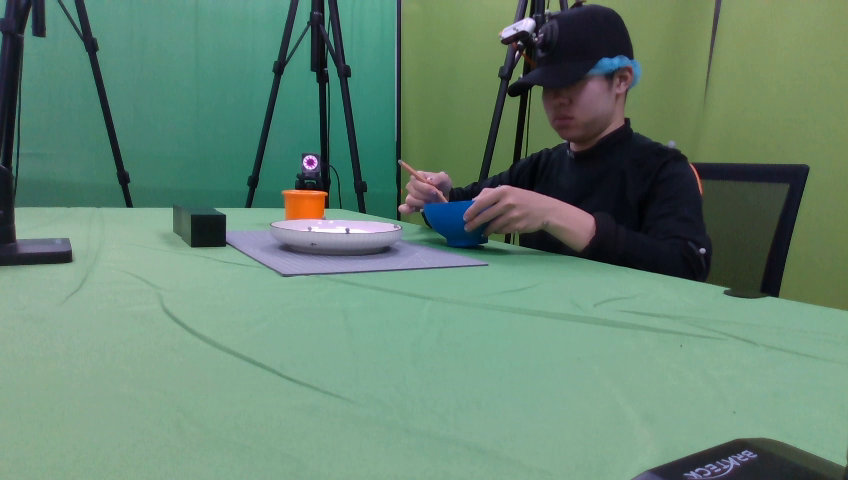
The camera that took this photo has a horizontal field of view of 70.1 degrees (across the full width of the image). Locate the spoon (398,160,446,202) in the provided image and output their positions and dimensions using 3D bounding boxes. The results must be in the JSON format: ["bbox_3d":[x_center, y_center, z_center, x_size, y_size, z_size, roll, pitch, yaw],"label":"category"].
[{"bbox_3d":[0.024,-0.078,1.083,0.193,0.021,0.042,47,18,5],"label":"spoon"}]

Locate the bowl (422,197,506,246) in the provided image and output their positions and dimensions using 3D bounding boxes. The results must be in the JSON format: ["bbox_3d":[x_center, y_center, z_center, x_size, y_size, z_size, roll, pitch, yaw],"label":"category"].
[{"bbox_3d":[0.073,-0.032,1.067,0.151,0.077,0.151,-4,3,1],"label":"bowl"}]

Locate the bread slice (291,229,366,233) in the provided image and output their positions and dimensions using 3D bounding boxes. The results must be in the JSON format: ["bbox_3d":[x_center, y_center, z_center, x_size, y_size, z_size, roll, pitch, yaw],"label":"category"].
[{"bbox_3d":[-0.143,-0.003,0.953,0.135,0.018,0.106,-1,8,-37],"label":"bread slice"}]

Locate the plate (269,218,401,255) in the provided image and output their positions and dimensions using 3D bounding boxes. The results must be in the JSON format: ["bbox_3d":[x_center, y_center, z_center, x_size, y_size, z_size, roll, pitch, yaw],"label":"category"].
[{"bbox_3d":[-0.140,-0.006,0.958,0.209,0.038,0.209,3,7,0],"label":"plate"}]
